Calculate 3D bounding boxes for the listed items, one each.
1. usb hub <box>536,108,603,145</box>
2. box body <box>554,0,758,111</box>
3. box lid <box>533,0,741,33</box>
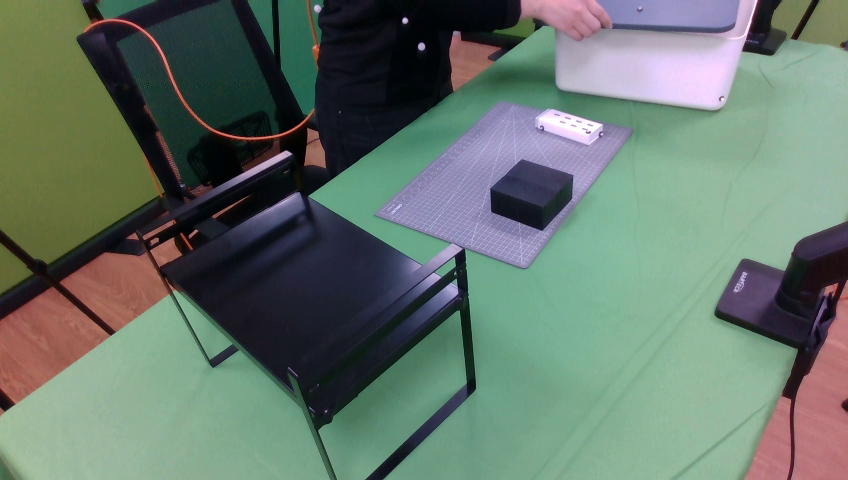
[{"bbox_3d":[0.284,-0.225,1.188,0.124,0.025,0.049,28,52,35],"label":"usb hub"},{"bbox_3d":[0.480,-0.417,1.282,0.362,0.161,0.254,15,46,24],"label":"box body"},{"bbox_3d":[0.419,-0.480,1.185,0.369,0.015,0.263,11,50,23],"label":"box lid"}]
